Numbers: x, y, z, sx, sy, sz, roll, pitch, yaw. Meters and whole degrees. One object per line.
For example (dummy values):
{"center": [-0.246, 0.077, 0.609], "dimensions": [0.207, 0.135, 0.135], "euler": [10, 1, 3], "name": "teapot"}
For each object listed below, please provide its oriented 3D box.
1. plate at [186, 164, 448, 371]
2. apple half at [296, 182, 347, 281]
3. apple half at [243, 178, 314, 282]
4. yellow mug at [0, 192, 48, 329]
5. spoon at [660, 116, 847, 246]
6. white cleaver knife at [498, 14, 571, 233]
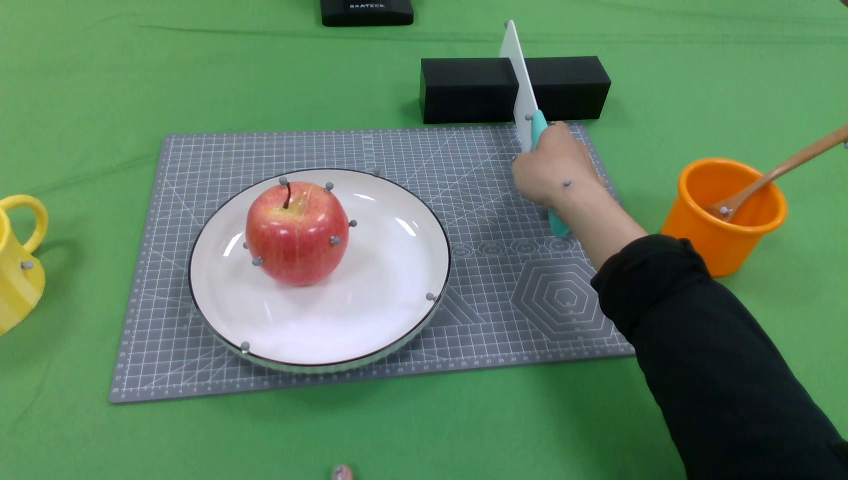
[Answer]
{"center": [-0.085, 0.020, 0.502], "dimensions": [0.209, 0.038, 0.207], "euler": [3, 50, -3], "name": "plate"}
{"center": [-0.078, -0.005, 0.488], "dimensions": [0.033, 0.082, 0.080], "euler": [2, 49, 4], "name": "apple half"}
{"center": [-0.117, -0.008, 0.488], "dimensions": [0.053, 0.075, 0.080], "euler": [4, 52, 4], "name": "apple half"}
{"center": [-0.351, 0.011, 0.470], "dimensions": [0.099, 0.064, 0.130], "euler": [23, 50, 14], "name": "yellow mug"}
{"center": [0.297, -0.054, 0.531], "dimensions": [0.022, 0.194, 0.041], "euler": [30, 32, -40], "name": "spoon"}
{"center": [0.108, -0.125, 0.623], "dimensions": [0.021, 0.066, 0.283], "euler": [-4, 56, -4], "name": "white cleaver knife"}
